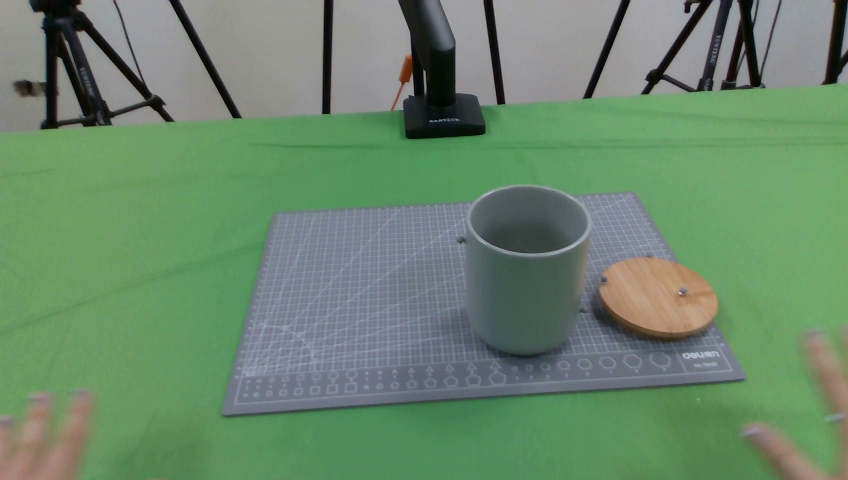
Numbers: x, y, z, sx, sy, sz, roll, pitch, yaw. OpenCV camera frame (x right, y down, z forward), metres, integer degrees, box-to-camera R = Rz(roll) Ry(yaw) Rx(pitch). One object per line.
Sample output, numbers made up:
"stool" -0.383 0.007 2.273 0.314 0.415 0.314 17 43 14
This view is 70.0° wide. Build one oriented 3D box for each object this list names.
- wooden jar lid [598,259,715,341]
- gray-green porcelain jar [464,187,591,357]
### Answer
"wooden jar lid" 0.223 0.059 0.589 0.108 0.021 0.107 -2 36 2
"gray-green porcelain jar" 0.088 0.032 0.542 0.106 0.127 0.105 -2 38 2
